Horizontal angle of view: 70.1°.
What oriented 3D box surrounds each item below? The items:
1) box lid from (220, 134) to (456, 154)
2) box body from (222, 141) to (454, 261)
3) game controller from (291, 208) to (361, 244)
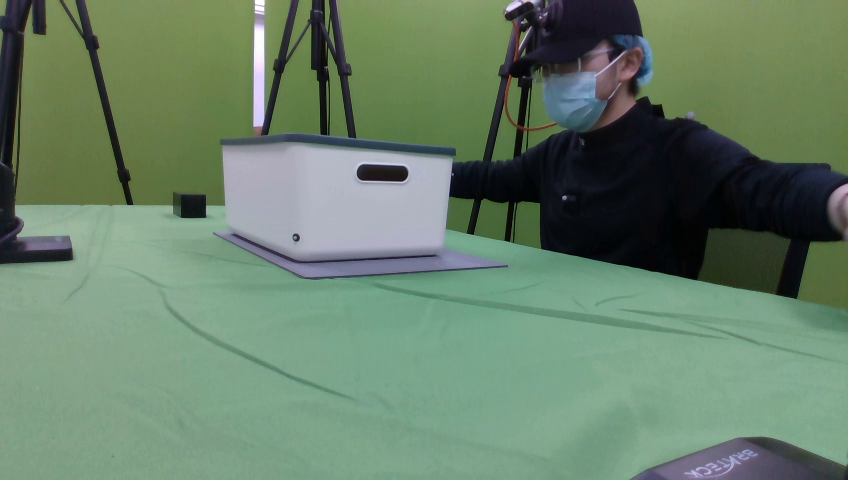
[{"bbox_3d":[-0.148,-0.147,0.951,0.265,0.015,0.369,-2,8,-33],"label":"box lid"},{"bbox_3d":[-0.152,-0.074,0.963,0.255,0.160,0.362,-3,9,-33],"label":"box body"},{"bbox_3d":[-0.160,-0.024,0.966,0.097,0.051,0.154,-3,7,-15],"label":"game controller"}]
